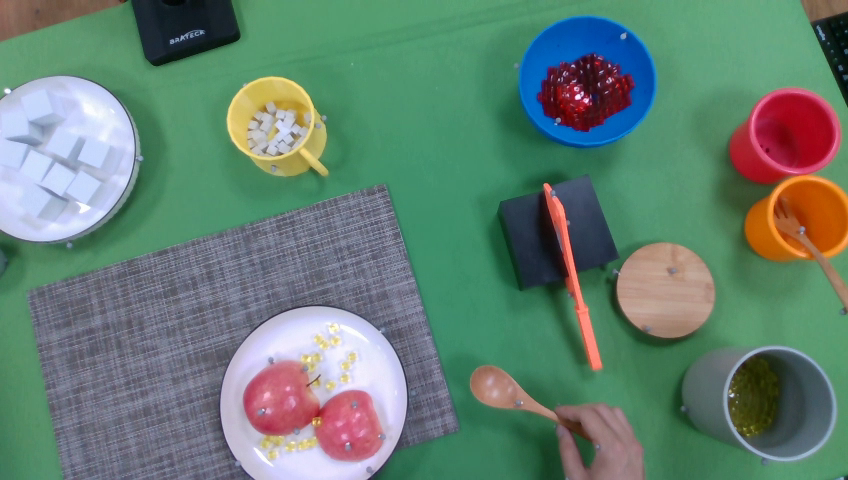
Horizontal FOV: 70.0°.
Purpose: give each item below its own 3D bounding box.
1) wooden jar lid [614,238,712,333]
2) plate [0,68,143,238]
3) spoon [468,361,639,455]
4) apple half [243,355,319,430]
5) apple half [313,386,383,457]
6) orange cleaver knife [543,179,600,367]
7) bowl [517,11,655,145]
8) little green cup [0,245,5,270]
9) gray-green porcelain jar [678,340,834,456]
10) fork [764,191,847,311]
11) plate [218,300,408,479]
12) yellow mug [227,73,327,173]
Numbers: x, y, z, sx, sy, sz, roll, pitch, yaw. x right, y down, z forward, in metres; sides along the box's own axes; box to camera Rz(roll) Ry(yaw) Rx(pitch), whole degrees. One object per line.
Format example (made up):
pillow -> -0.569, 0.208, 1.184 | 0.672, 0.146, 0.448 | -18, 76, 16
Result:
wooden jar lid -> 0.271, 0.052, 0.692 | 0.108, 0.021, 0.108 | 0, 82, 4
plate -> -0.439, -0.103, 0.733 | 0.207, 0.039, 0.207 | 0, 82, 2
spoon -> 0.136, 0.182, 0.640 | 0.193, 0.022, 0.041 | 24, 67, 10
apple half -> -0.161, 0.169, 0.663 | 0.074, 0.053, 0.080 | -20, 82, 2
apple half -> -0.087, 0.202, 0.664 | 0.081, 0.033, 0.081 | -1, 78, 3
orange cleaver knife -> 0.161, 0.036, 0.667 | 0.012, 0.077, 0.212 | -16, 105, 3
bowl -> 0.179, -0.174, 0.699 | 0.151, 0.077, 0.151 | 0, 82, 3
little green cup -> -0.535, 0.020, 0.717 | 0.061, 0.039, 0.061 | 0, 82, 1
gray-green porcelain jar -> 0.329, 0.156, 0.620 | 0.106, 0.127, 0.105 | 0, 81, 2
fork -> 0.402, 0.013, 0.626 | 0.028, 0.019, 0.205 | -1, 38, 2
plate -> -0.121, 0.172, 0.676 | 0.209, 0.038, 0.208 | 0, 82, 2
yellow mug -> -0.161, -0.126, 0.712 | 0.130, 0.064, 0.100 | 44, 85, 7
